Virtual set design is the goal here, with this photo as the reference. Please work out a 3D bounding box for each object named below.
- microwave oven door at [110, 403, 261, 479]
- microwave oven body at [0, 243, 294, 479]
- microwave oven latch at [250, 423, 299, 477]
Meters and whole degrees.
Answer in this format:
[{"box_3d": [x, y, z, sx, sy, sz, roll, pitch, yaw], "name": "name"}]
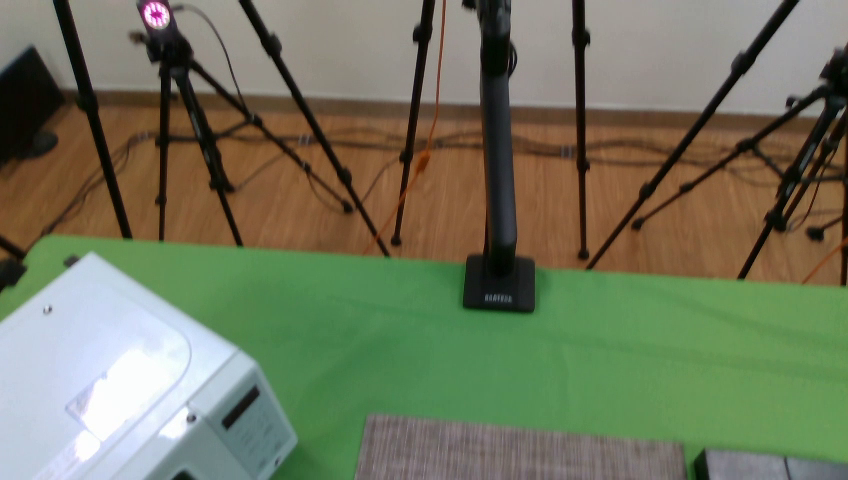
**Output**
[{"box_3d": [-0.337, 0.362, 0.645, 0.039, 0.246, 0.355, 27, 57, 23], "name": "microwave oven door"}, {"box_3d": [-0.434, 0.277, 0.724, 0.324, 0.262, 0.440, 27, 58, 21], "name": "microwave oven body"}, {"box_3d": [-0.208, 0.283, 0.834, 0.030, 0.030, 0.079, 29, 59, 23], "name": "microwave oven latch"}]
